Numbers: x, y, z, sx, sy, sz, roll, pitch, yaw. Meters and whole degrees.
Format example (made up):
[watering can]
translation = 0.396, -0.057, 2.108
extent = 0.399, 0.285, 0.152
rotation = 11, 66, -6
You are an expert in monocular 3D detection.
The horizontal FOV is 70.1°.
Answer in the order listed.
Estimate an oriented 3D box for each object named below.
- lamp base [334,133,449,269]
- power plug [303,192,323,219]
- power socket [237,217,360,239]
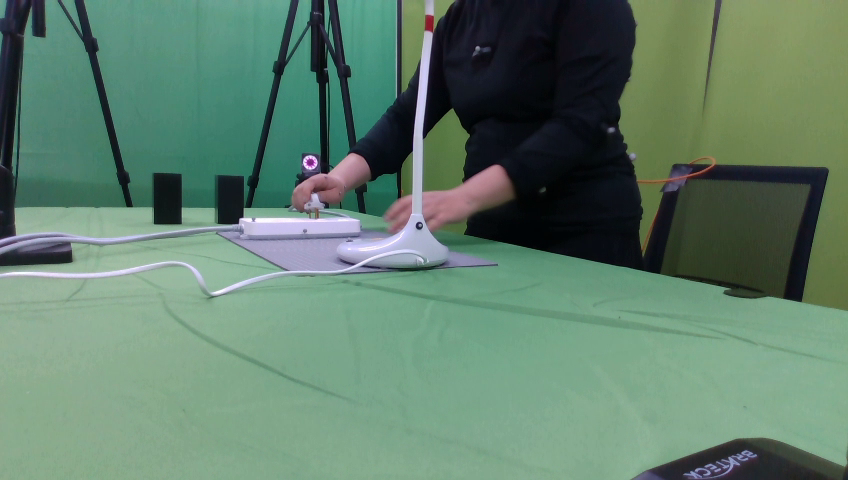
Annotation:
[lamp base]
translation = -0.034, -0.057, 0.830
extent = 0.161, 0.180, 0.178
rotation = -3, 12, -36
[power plug]
translation = -0.206, -0.061, 1.125
extent = 0.035, 0.052, 0.072
rotation = -2, -5, -12
[power socket]
translation = -0.220, -0.023, 1.080
extent = 0.228, 0.032, 0.072
rotation = -2, 8, -32
